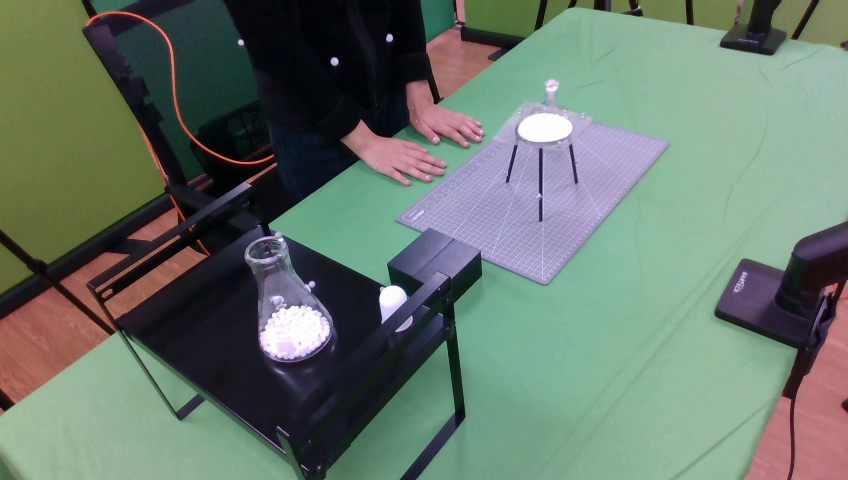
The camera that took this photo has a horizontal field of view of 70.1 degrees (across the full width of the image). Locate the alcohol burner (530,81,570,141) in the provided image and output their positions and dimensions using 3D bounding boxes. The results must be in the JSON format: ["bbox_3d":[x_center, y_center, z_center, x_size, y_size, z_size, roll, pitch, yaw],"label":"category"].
[{"bbox_3d":[0.241,-0.251,1.159,0.078,0.119,0.077,-3,42,4],"label":"alcohol burner"}]

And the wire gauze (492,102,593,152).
[{"bbox_3d":[0.190,-0.180,0.964,0.120,0.011,0.125,19,47,27],"label":"wire gauze"}]

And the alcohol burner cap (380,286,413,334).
[{"bbox_3d":[-0.029,0.068,0.605,0.034,0.048,0.033,-5,40,4],"label":"alcohol burner cap"}]

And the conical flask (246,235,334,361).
[{"bbox_3d":[-0.134,0.053,0.576,0.075,0.122,0.075,-5,40,4],"label":"conical flask"}]

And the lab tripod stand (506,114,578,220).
[{"bbox_3d":[0.198,-0.128,1.005,0.148,0.132,0.147,-3,42,3],"label":"lab tripod stand"}]
